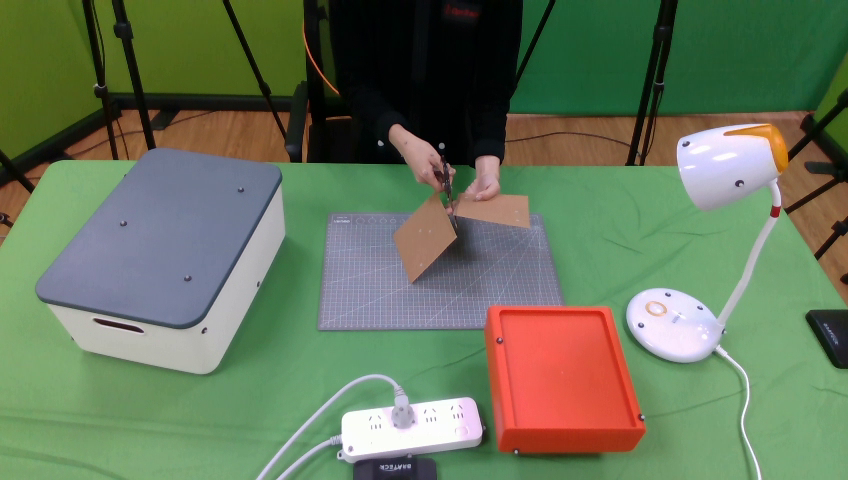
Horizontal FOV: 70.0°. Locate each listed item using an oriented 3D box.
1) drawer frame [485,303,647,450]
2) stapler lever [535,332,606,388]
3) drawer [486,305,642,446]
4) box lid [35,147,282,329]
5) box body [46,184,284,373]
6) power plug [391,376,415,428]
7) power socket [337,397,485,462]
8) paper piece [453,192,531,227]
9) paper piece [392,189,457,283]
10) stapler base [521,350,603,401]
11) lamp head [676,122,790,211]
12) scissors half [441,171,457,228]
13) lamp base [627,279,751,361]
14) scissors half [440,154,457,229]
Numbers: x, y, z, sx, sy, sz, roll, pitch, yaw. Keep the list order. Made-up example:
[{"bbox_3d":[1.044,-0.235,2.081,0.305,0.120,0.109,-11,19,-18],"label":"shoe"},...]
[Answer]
[{"bbox_3d":[0.204,0.202,0.917,0.202,0.083,0.212,1,47,-4],"label":"drawer frame"},{"bbox_3d":[0.225,0.182,0.929,0.118,0.040,0.027,26,34,15],"label":"stapler lever"},{"bbox_3d":[0.202,0.200,0.919,0.195,0.073,0.210,2,47,-4],"label":"drawer"},{"bbox_3d":[-0.411,-0.023,0.987,0.263,0.015,0.369,10,47,5],"label":"box lid"},{"bbox_3d":[-0.415,0.029,1.040,0.254,0.161,0.362,10,46,5],"label":"box body"},{"bbox_3d":[-0.030,0.249,0.917,0.035,0.053,0.072,3,46,0],"label":"power plug"},{"bbox_3d":[-0.018,0.285,0.915,0.227,0.033,0.071,-4,46,-8],"label":"power socket"},{"bbox_3d":[0.124,-0.058,1.103,0.136,0.009,0.137,10,24,3],"label":"paper piece"},{"bbox_3d":[-0.003,-0.008,1.141,0.004,0.135,0.135,24,32,-40],"label":"paper piece"},{"bbox_3d":[0.217,0.203,0.942,0.130,0.024,0.041,26,34,16],"label":"stapler base"},{"bbox_3d":[0.423,-0.104,0.819,0.122,0.113,0.112,-13,33,40],"label":"lamp head"},{"bbox_3d":[0.047,-0.076,1.115,0.013,0.040,0.174,-7,38,-2],"label":"scissors half"},{"bbox_3d":[0.460,0.100,1.027,0.178,0.181,0.160,27,51,17],"label":"lamp base"},{"bbox_3d":[0.045,-0.090,1.100,0.013,0.040,0.174,-10,56,2],"label":"scissors half"}]
